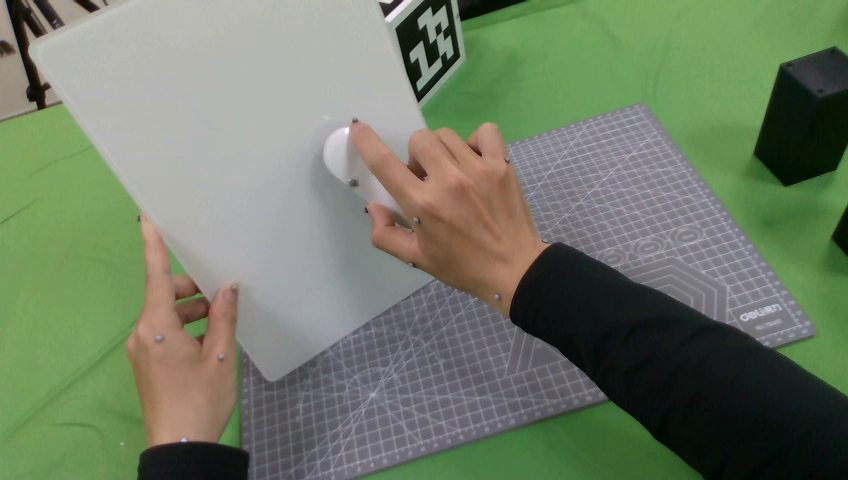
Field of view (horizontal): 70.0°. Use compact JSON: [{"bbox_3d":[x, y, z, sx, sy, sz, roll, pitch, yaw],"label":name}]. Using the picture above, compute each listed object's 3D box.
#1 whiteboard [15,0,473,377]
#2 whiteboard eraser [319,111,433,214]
[{"bbox_3d":[-0.126,-0.082,0.511,0.217,0.308,0.142,-32,33,-12],"label":"whiteboard"},{"bbox_3d":[-0.035,-0.057,0.456,0.041,0.102,0.018,-53,29,-1],"label":"whiteboard eraser"}]
